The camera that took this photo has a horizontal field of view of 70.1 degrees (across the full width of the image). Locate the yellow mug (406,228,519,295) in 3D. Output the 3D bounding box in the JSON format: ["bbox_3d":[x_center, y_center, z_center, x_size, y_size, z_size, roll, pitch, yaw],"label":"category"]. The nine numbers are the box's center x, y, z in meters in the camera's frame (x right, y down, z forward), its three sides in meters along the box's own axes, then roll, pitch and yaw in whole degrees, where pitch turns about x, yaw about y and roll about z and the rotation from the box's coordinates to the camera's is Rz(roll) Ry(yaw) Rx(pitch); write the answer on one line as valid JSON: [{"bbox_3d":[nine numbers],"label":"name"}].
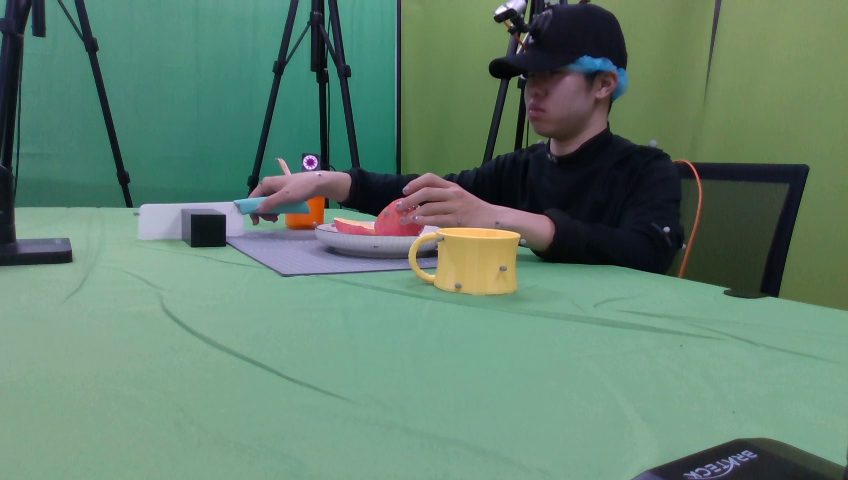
[{"bbox_3d":[0.044,0.022,0.706,0.131,0.064,0.100,2,7,5],"label":"yellow mug"}]

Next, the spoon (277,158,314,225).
[{"bbox_3d":[-0.272,-0.103,1.260,0.042,0.193,0.021,-5,-34,-33],"label":"spoon"}]

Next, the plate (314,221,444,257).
[{"bbox_3d":[-0.066,-0.002,0.948,0.209,0.038,0.209,3,7,0],"label":"plate"}]

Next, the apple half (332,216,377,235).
[{"bbox_3d":[-0.110,-0.012,0.972,0.081,0.033,0.081,16,7,-2],"label":"apple half"}]

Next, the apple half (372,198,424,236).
[{"bbox_3d":[-0.034,-0.022,0.928,0.053,0.074,0.081,52,8,17],"label":"apple half"}]

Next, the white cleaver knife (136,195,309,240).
[{"bbox_3d":[-0.337,-0.039,1.037,0.288,0.066,0.021,-6,15,-29],"label":"white cleaver knife"}]
